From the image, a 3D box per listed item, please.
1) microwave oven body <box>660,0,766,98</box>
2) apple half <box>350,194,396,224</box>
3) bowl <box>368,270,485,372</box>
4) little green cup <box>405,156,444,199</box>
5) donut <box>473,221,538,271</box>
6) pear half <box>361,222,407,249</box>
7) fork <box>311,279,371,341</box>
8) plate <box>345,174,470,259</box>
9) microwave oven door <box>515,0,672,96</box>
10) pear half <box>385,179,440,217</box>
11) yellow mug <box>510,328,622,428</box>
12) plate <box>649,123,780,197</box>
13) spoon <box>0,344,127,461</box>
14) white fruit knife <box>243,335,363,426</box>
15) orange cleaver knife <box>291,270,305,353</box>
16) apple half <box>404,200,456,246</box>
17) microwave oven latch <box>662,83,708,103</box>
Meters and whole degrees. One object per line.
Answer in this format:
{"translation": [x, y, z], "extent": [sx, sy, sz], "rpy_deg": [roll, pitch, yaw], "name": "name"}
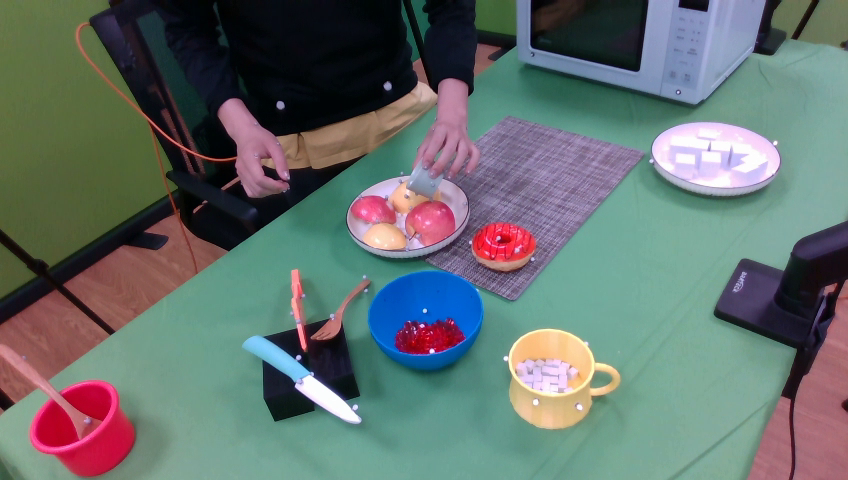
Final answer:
{"translation": [0.472, -0.513, 1.317], "extent": [0.438, 0.261, 0.327], "rpy_deg": [26, 51, 34], "name": "microwave oven body"}
{"translation": [-0.080, -0.056, 1.008], "extent": [0.081, 0.033, 0.081], "rpy_deg": [10, 24, -4], "name": "apple half"}
{"translation": [0.007, 0.118, 0.791], "extent": [0.151, 0.077, 0.150], "rpy_deg": [-5, 40, 4], "name": "bowl"}
{"translation": [0.001, -0.094, 0.936], "extent": [0.039, 0.061, 0.061], "rpy_deg": [28, 40, -14], "name": "little green cup"}
{"translation": [0.123, 0.008, 0.923], "extent": [0.099, 0.048, 0.098], "rpy_deg": [-3, 38, 3], "name": "donut"}
{"translation": [-0.063, -0.012, 0.958], "extent": [0.071, 0.031, 0.087], "rpy_deg": [2, 24, -25], "name": "pear half"}
{"translation": [-0.108, 0.092, 0.832], "extent": [0.028, 0.019, 0.207], "rpy_deg": [-6, 19, 15], "name": "fork"}
{"translation": [-0.026, -0.037, 1.004], "extent": [0.209, 0.038, 0.208], "rpy_deg": [-4, 40, 4], "name": "plate"}
{"translation": [0.343, -0.454, 1.259], "extent": [0.353, 0.245, 0.039], "rpy_deg": [26, 51, 33], "name": "microwave oven door"}
{"translation": [-0.030, -0.079, 1.033], "extent": [0.109, 0.056, 0.076], "rpy_deg": [0, 36, 15], "name": "pear half"}
{"translation": [0.168, 0.164, 0.722], "extent": [0.130, 0.064, 0.099], "rpy_deg": [0, 40, 8], "name": "yellow mug"}
{"translation": [0.497, -0.135, 1.046], "extent": [0.207, 0.039, 0.206], "rpy_deg": [-4, 40, 4], "name": "plate"}
{"translation": [-0.433, 0.191, 0.720], "extent": [0.194, 0.021, 0.042], "rpy_deg": [47, 52, -6], "name": "spoon"}
{"translation": [-0.148, 0.167, 0.730], "extent": [0.206, 0.016, 0.027], "rpy_deg": [26, 80, 31], "name": "white fruit knife"}
{"translation": [-0.175, 0.094, 0.844], "extent": [0.012, 0.077, 0.210], "rpy_deg": [-11, 14, -10], "name": "orange cleaver knife"}
{"translation": [0.010, -0.035, 0.970], "extent": [0.075, 0.053, 0.080], "rpy_deg": [-27, 39, -22], "name": "apple half"}
{"translation": [0.517, -0.296, 1.204], "extent": [0.078, 0.029, 0.030], "rpy_deg": [28, 52, 35], "name": "microwave oven latch"}
